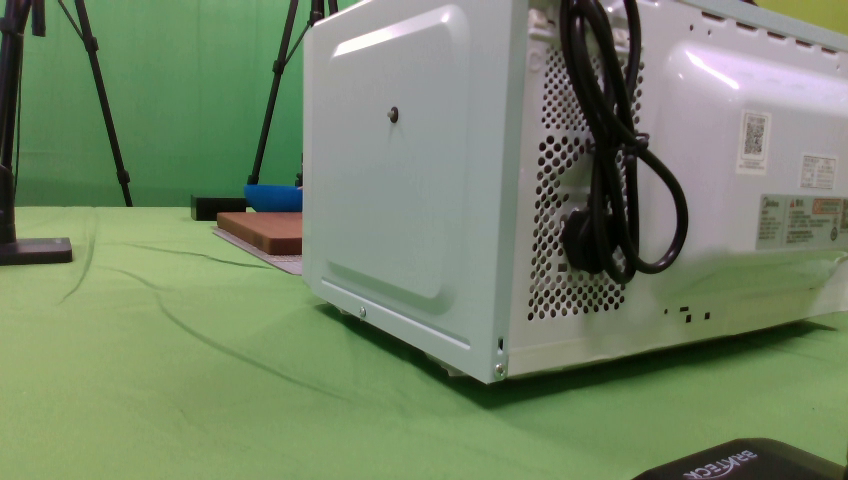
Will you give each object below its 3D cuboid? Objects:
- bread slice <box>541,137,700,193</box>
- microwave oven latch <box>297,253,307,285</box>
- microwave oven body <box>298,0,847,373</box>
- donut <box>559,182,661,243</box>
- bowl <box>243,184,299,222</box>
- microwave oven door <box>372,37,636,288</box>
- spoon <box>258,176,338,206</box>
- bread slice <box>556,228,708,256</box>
[{"bbox_3d":[0.197,-0.074,0.592,0.107,0.018,0.133,-2,22,-40],"label":"bread slice"},{"bbox_3d":[-0.082,0.027,0.583,0.079,0.029,0.030,-2,8,-33],"label":"microwave oven latch"},{"bbox_3d":[0.151,-0.055,0.543,0.444,0.260,0.324,-1,7,-33],"label":"microwave oven body"},{"bbox_3d":[0.185,-0.029,0.606,0.099,0.048,0.099,11,-10,2],"label":"donut"},{"bbox_3d":[-0.321,-0.081,1.333,0.151,0.077,0.151,3,7,0],"label":"bowl"},{"bbox_3d":[0.109,-0.080,0.687,0.358,0.243,0.039,-2,9,-33],"label":"microwave oven door"},{"bbox_3d":[-0.279,-0.112,1.356,0.194,0.021,0.041,-28,19,-27],"label":"spoon"},{"bbox_3d":[0.205,0.000,0.582,0.105,0.019,0.131,4,0,-17],"label":"bread slice"}]
